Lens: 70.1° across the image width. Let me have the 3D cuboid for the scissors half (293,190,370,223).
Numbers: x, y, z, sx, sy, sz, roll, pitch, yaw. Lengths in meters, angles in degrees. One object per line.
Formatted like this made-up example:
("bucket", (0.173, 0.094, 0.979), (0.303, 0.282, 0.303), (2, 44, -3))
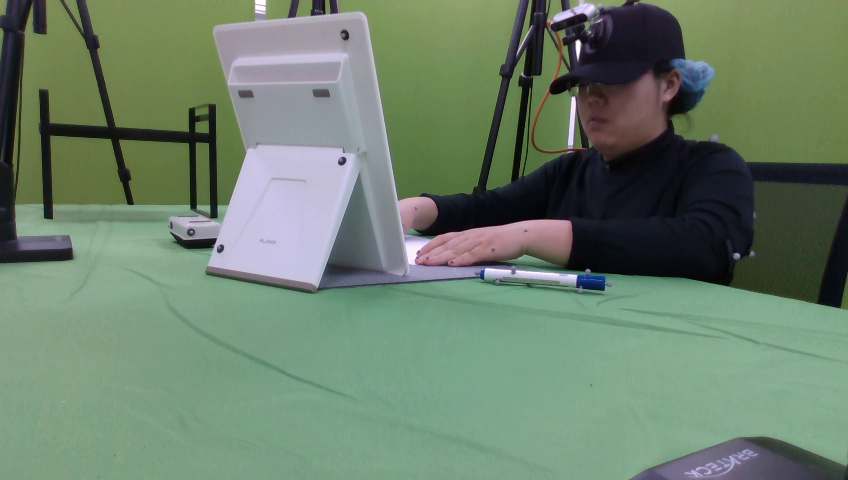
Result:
("scissors half", (-0.205, -0.077, 1.338), (0.175, 0.040, 0.013), (22, 12, -8))

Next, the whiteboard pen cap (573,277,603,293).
("whiteboard pen cap", (0.186, 0.051, 0.687), (0.033, 0.018, 0.018), (4, 8, 17))

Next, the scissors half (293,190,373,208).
("scissors half", (-0.200, -0.096, 1.332), (0.175, 0.040, 0.013), (5, 19, -4))

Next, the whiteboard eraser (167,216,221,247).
("whiteboard eraser", (-0.350, -0.013, 0.920), (0.056, 0.042, 0.112), (0, 7, -35))

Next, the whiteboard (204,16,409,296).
("whiteboard", (-0.166, -0.072, 0.669), (0.216, 0.305, 0.144), (8, 30, 30))

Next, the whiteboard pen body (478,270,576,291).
("whiteboard pen body", (0.132, 0.048, 0.707), (0.140, 0.017, 0.017), (4, 7, 17))
